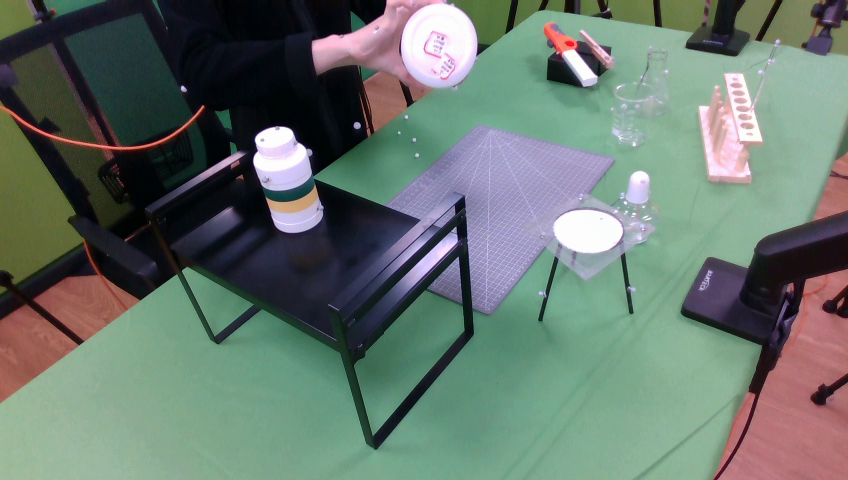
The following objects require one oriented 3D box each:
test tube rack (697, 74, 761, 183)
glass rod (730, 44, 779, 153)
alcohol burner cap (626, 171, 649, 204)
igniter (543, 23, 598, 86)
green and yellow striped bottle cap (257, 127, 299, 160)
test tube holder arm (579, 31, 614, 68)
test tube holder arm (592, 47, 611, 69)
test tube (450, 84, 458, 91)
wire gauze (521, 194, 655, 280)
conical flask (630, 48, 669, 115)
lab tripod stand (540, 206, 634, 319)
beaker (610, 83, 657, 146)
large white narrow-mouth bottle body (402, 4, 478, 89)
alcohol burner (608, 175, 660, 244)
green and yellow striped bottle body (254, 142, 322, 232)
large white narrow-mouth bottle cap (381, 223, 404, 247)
[{"bbox_3d":[0.547,-0.208,1.095,0.066,0.085,0.242,5,42,15],"label":"test tube rack"},{"bbox_3d":[0.555,-0.234,1.021,0.008,0.200,0.008,2,40,-1],"label":"glass rod"},{"bbox_3d":[0.320,-0.081,0.900,0.034,0.048,0.033,-4,42,4],"label":"alcohol burner cap"},{"bbox_3d":[0.320,-0.419,1.345,0.057,0.025,0.274,-12,44,-3],"label":"igniter"},{"bbox_3d":[-0.169,-0.112,0.698,0.045,0.020,0.045,-5,40,5],"label":"green and yellow striped bottle cap"},{"bbox_3d":[0.384,-0.428,1.351,0.013,0.015,0.177,-11,41,-4],"label":"test tube holder arm"},{"bbox_3d":[0.386,-0.398,1.317,0.010,0.015,0.087,-10,41,-3],"label":"test tube holder arm"},{"bbox_3d":[0.044,-0.279,1.030,0.017,0.017,0.150,1,0,10],"label":"test tube"},{"bbox_3d":[0.207,-0.012,0.772,0.122,0.011,0.124,-28,44,-20],"label":"wire gauze"},{"bbox_3d":[0.456,-0.317,1.205,0.075,0.122,0.075,-4,41,4],"label":"conical flask"},{"bbox_3d":[0.218,0.034,0.821,0.148,0.132,0.147,-4,42,4],"label":"lab tripod stand"},{"bbox_3d":[0.388,-0.235,1.137,0.074,0.101,0.083,-31,45,-26],"label":"beaker"},{"bbox_3d":[0.023,-0.268,0.862,0.102,0.102,0.194,-5,12,2],"label":"large white narrow-mouth bottle body"},{"bbox_3d":[0.322,-0.053,0.924,0.078,0.119,0.077,-4,43,4],"label":"alcohol burner"},{"bbox_3d":[-0.165,-0.073,0.732,0.063,0.120,0.063,-4,41,4],"label":"green and yellow striped bottle body"},{"bbox_3d":[-0.052,-0.009,0.992,0.038,0.024,0.037,-5,39,4],"label":"large white narrow-mouth bottle cap"}]
